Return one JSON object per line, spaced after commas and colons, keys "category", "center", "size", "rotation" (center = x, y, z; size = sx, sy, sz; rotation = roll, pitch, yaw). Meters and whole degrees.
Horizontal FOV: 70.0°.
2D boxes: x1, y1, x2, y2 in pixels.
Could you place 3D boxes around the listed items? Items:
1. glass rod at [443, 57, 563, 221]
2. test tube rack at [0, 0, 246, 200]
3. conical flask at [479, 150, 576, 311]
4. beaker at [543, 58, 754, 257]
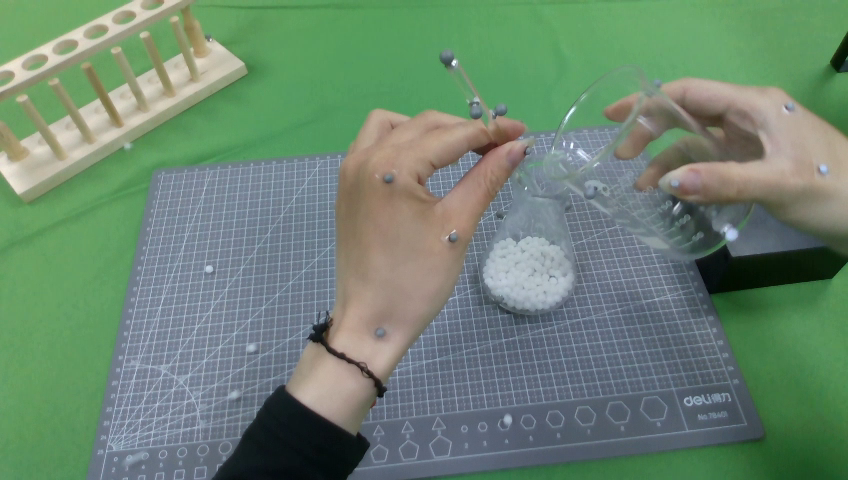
{"category": "glass rod", "center": [0.053, -0.046, 0.344], "size": [0.008, 0.201, 0.008], "rotation": [-9, 68, 24]}
{"category": "test tube rack", "center": [-0.297, -0.149, 0.570], "size": [0.242, 0.086, 0.066], "rotation": [-39, 62, -22]}
{"category": "conical flask", "center": [0.077, -0.008, 0.427], "size": [0.075, 0.123, 0.074], "rotation": [-2, 55, 3]}
{"category": "beaker", "center": [0.129, -0.041, 0.350], "size": [0.101, 0.083, 0.073], "rotation": [33, 71, -19]}
